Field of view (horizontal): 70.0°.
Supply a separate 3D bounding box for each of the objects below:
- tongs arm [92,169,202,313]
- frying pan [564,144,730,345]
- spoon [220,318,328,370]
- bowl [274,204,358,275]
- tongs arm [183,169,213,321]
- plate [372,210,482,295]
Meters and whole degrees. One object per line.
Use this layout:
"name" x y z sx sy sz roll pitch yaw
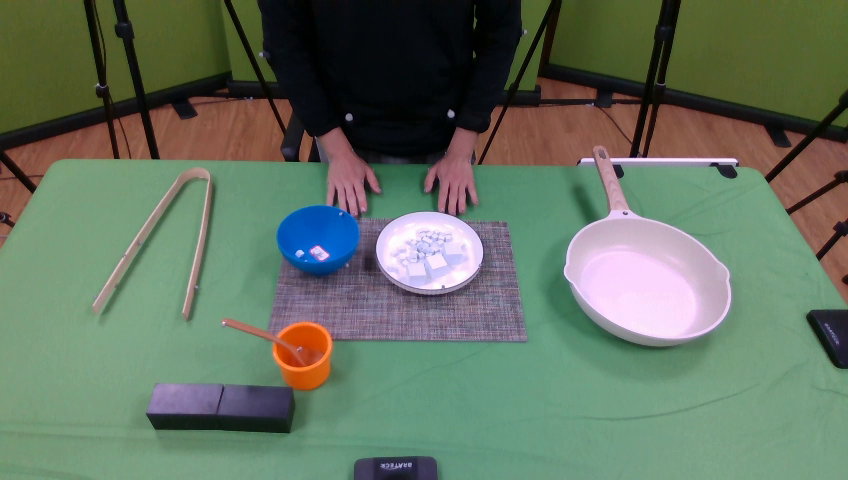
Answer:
"tongs arm" -0.517 -0.012 1.160 0.051 0.026 0.382 7 45 1
"frying pan" 0.396 -0.008 1.179 0.307 0.103 0.484 0 55 -5
"spoon" -0.229 0.158 0.940 0.021 0.195 0.041 -36 39 22
"bowl" -0.197 0.012 1.126 0.151 0.077 0.150 2 46 -2
"tongs arm" -0.436 -0.005 1.166 0.028 0.028 0.385 -5 46 -6
"plate" 0.005 0.028 1.155 0.208 0.039 0.206 3 46 -2
